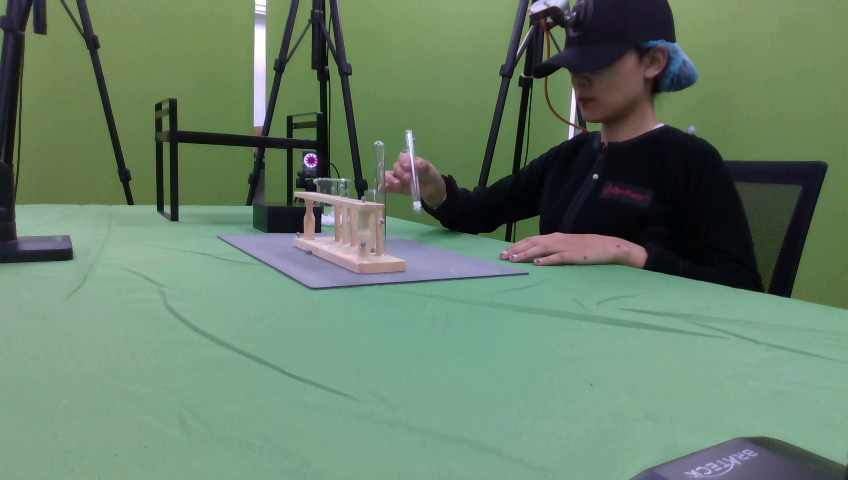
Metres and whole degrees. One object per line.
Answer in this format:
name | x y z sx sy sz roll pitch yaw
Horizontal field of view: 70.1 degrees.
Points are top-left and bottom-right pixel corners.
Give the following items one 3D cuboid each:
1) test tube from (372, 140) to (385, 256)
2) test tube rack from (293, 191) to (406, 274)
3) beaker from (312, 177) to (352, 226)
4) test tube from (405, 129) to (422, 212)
test tube | -0.058 -0.053 0.781 0.017 0.150 0.017 0 5 0
test tube rack | -0.110 -0.017 0.836 0.067 0.085 0.241 -2 9 -30
beaker | -0.194 -0.081 1.266 0.084 0.100 0.073 -3 9 -29
test tube | -0.019 -0.119 1.030 0.017 0.150 0.017 -6 -16 -1
